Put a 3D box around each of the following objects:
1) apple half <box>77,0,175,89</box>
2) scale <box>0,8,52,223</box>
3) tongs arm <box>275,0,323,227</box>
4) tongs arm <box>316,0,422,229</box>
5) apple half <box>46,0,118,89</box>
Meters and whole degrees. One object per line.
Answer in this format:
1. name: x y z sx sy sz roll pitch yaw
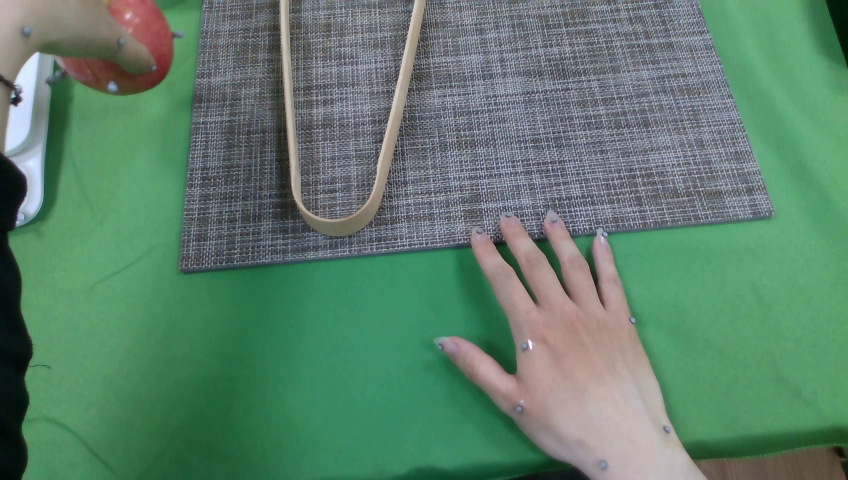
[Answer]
1. apple half: -0.213 -0.155 0.446 0.053 0.075 0.080 -14 65 -6
2. scale: -0.386 -0.099 0.495 0.149 0.032 0.199 -10 67 -3
3. tongs arm: -0.115 -0.186 0.526 0.028 0.028 0.384 -6 66 -5
4. tongs arm: -0.030 -0.186 0.522 0.051 0.027 0.382 6 67 3
5. apple half: -0.250 -0.144 0.441 0.033 0.082 0.080 -14 66 -6
